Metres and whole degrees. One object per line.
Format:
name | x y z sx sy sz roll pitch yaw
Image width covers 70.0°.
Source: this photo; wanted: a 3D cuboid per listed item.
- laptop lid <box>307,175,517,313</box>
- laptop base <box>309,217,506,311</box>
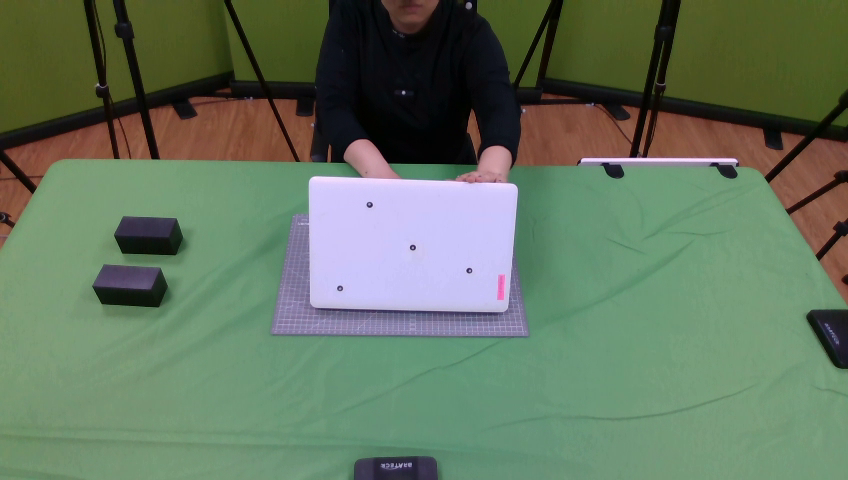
laptop lid | -0.022 0.011 1.034 0.357 0.242 0.013 3 15 -3
laptop base | -0.028 0.045 1.154 0.354 0.023 0.234 2 42 -3
